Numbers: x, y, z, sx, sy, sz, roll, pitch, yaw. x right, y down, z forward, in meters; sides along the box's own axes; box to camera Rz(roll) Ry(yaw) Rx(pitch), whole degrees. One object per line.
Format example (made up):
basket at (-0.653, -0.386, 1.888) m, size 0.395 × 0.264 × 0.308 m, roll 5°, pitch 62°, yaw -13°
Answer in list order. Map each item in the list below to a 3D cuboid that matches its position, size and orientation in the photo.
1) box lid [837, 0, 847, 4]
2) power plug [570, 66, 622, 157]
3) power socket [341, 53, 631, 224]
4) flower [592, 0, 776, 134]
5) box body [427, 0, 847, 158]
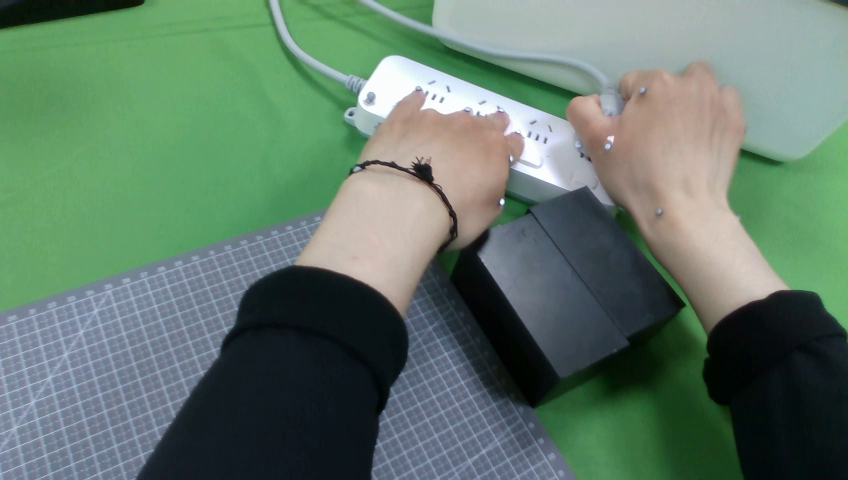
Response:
box lid at (0.218, -0.288, 0.469) m, size 0.371 × 0.015 × 0.261 m, roll 19°, pitch 55°, yaw 1°
power plug at (0.133, -0.089, 0.457) m, size 0.035 × 0.053 × 0.072 m, roll 28°, pitch 51°, yaw 6°
power socket at (0.051, -0.079, 0.460) m, size 0.226 × 0.033 × 0.072 m, roll 22°, pitch 54°, yaw 4°
flower at (0.193, -0.218, 0.593) m, size 0.360 × 0.038 × 0.044 m, roll 42°, pitch 81°, yaw 9°
box body at (0.204, -0.248, 0.529) m, size 0.364 × 0.161 × 0.252 m, roll 19°, pitch 54°, yaw 1°
